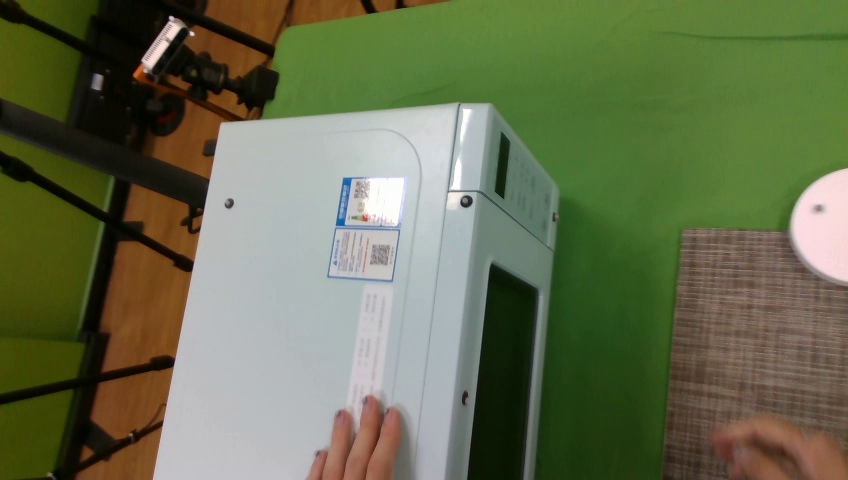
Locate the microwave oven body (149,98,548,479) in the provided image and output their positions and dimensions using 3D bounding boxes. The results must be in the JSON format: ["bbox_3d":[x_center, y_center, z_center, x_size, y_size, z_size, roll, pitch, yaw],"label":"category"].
[{"bbox_3d":[-0.066,0.114,0.637,0.324,0.262,0.440,2,79,26],"label":"microwave oven body"}]

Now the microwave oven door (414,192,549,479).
[{"bbox_3d":[0.058,0.157,0.560,0.039,0.246,0.354,1,79,27],"label":"microwave oven door"}]

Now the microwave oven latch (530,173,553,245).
[{"bbox_3d":[0.129,-0.035,0.686,0.030,0.030,0.079,2,80,26],"label":"microwave oven latch"}]

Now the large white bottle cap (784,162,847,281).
[{"bbox_3d":[0.407,-0.018,0.572,0.114,0.018,0.114,-7,75,24],"label":"large white bottle cap"}]

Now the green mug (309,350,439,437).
[{"bbox_3d":[-0.047,0.161,0.642,0.125,0.105,0.092,-12,76,17],"label":"green mug"}]
